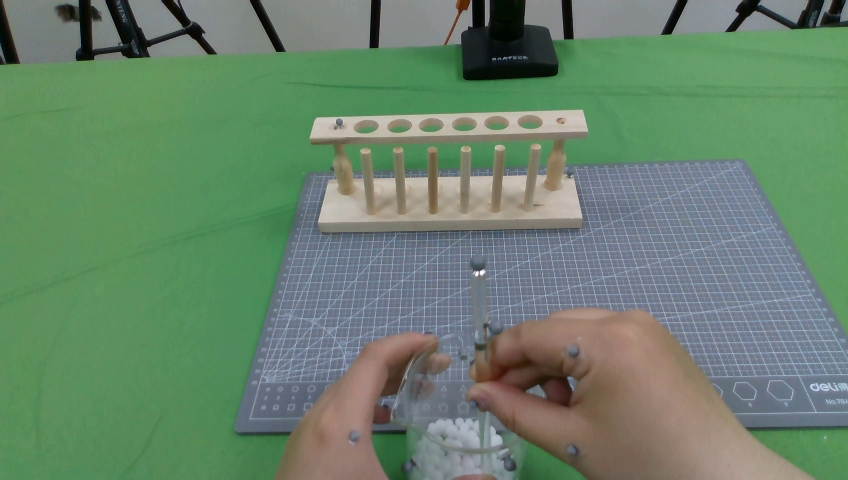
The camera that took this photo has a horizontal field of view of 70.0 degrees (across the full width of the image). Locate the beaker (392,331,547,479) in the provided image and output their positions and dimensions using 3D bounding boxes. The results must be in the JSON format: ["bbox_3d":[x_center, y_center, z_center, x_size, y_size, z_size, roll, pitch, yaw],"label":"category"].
[{"bbox_3d":[0.023,0.114,0.350,0.084,0.101,0.073,-14,46,-15],"label":"beaker"}]

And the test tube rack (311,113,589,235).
[{"bbox_3d":[0.023,-0.059,0.555,0.242,0.086,0.066,-1,44,4],"label":"test tube rack"}]

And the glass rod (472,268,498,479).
[{"bbox_3d":[0.033,0.085,0.303,0.008,0.201,0.008,-4,43,4],"label":"glass rod"}]
